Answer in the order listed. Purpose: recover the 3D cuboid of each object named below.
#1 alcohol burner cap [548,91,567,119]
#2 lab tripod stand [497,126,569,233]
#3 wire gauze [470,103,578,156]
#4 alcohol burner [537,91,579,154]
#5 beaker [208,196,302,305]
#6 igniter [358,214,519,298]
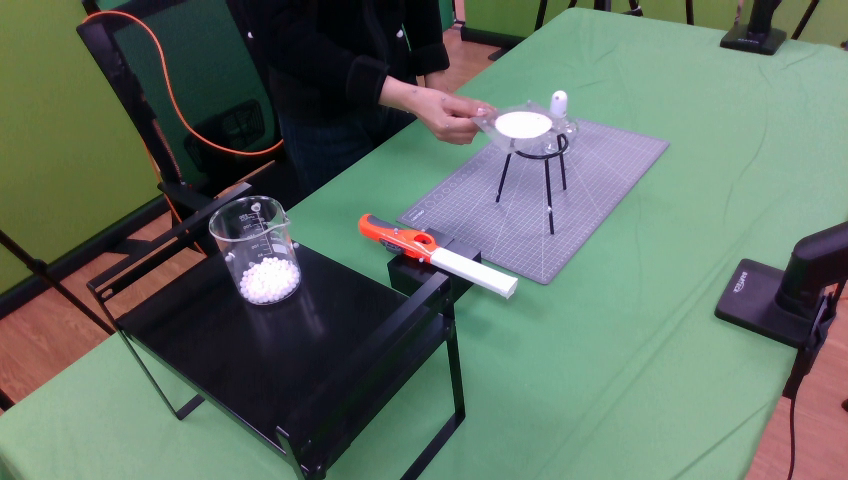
[{"bbox_3d":[0.245,-0.247,1.098,0.034,0.048,0.033,-1,46,1],"label":"alcohol burner cap"},{"bbox_3d":[0.189,-0.104,0.979,0.148,0.132,0.147,-3,41,3],"label":"lab tripod stand"},{"bbox_3d":[0.149,-0.174,0.914,0.122,0.011,0.124,-19,40,-16],"label":"wire gauze"},{"bbox_3d":[0.248,-0.220,1.122,0.078,0.119,0.077,-6,39,5],"label":"alcohol burner"},{"bbox_3d":[-0.173,0.014,0.647,0.084,0.101,0.073,0,41,8],"label":"beaker"},{"bbox_3d":[0.010,0.018,0.876,0.274,0.025,0.057,23,46,28],"label":"igniter"}]
